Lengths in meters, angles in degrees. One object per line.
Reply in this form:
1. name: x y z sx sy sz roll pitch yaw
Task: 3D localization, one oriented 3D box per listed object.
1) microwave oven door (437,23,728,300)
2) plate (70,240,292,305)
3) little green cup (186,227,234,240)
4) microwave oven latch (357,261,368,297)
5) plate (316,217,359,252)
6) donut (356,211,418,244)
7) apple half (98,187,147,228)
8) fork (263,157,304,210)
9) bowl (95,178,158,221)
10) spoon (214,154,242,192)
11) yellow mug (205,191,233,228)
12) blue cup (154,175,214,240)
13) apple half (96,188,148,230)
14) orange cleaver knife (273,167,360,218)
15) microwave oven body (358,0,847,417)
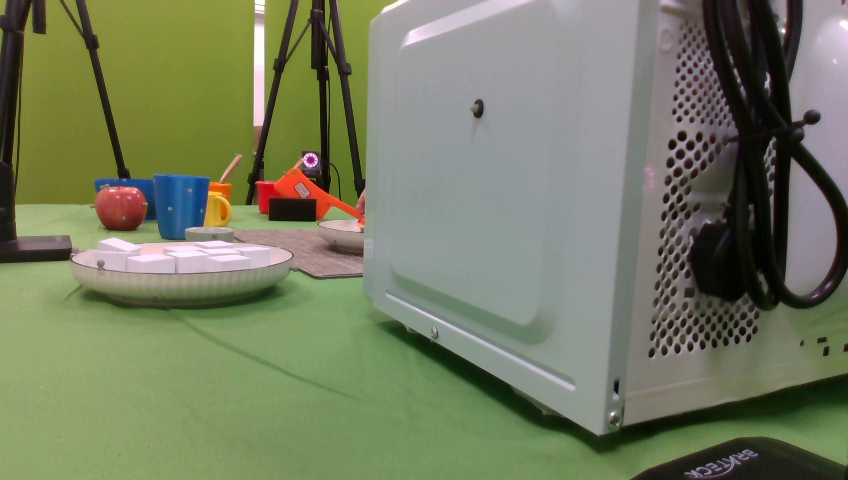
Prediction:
1. microwave oven door: 0.181 -0.072 0.621 0.358 0.243 0.039 -2 9 -29
2. plate: -0.242 0.031 0.618 0.208 0.039 0.207 2 8 0
3. little green cup: -0.285 0.005 0.805 0.061 0.038 0.061 2 8 0
4. microwave oven latch: -0.019 0.033 0.531 0.079 0.029 0.030 -1 7 -27
5. plate: -0.063 -0.007 0.943 0.209 0.038 0.209 3 8 0
6. donut: -0.057 -0.019 0.945 0.099 0.048 0.099 5 7 0
7. apple half: -0.534 -0.059 1.071 0.082 0.081 0.032 -1 11 -25
8. fork: -0.345 -0.143 1.505 0.028 0.019 0.207 -4 46 29
9. bowl: -0.576 -0.081 1.217 0.151 0.077 0.151 3 8 0
10. spoon: -0.439 -0.124 1.317 0.041 0.193 0.022 5 -36 16
11. yellow mug: -0.415 -0.057 1.132 0.130 0.064 0.100 6 8 16
12. blue cup: -0.390 -0.053 0.978 0.093 0.100 0.092 3 6 0
13. apple half: -0.517 -0.052 1.036 0.081 0.074 0.053 2 10 -26
14. orange cleaver knife: -0.238 -0.091 1.381 0.212 0.077 0.012 31 0 -19
15. microwave oven body: 0.211 -0.047 0.474 0.444 0.260 0.324 -1 7 -28
